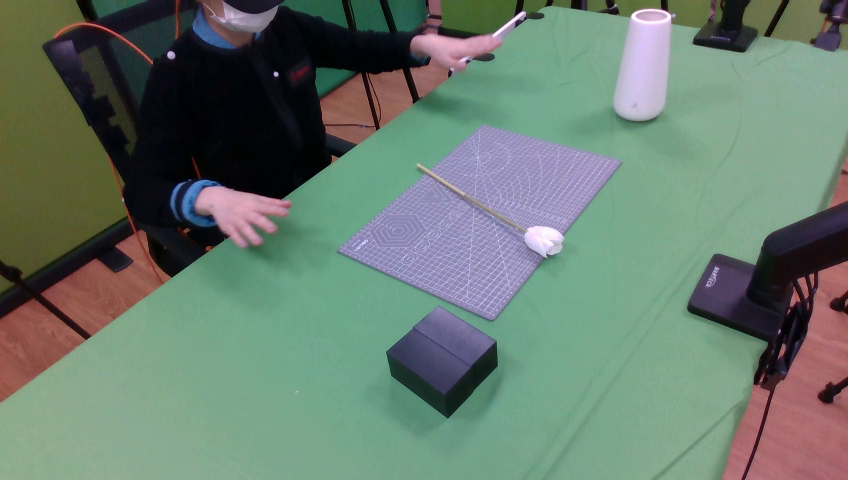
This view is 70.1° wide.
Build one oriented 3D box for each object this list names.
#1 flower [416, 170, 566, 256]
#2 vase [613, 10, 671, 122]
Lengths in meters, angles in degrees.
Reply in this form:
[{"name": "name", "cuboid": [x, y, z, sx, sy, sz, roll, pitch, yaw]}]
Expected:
[{"name": "flower", "cuboid": [0.094, -0.061, 1.028, 0.358, 0.038, 0.044, 33, 92, 44]}, {"name": "vase", "cuboid": [0.419, -0.326, 1.151, 0.098, 0.201, 0.097, -4, 42, 4]}]
